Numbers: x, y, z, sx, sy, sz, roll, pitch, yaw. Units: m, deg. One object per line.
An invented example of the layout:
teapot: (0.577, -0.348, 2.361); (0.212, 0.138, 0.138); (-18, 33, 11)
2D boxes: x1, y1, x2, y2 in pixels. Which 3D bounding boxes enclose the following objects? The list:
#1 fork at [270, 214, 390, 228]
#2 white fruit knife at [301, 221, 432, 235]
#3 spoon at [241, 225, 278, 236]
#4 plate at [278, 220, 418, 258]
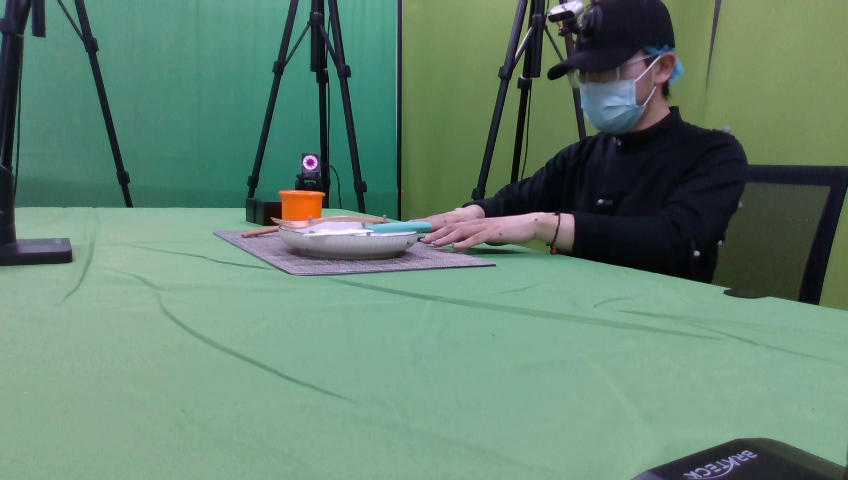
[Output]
fork: (-0.143, -0.031, 0.963); (0.208, 0.018, 0.028); (-4, 19, -35)
white fruit knife: (-0.079, -0.016, 0.858); (0.208, 0.016, 0.027); (-4, 13, -38)
spoon: (-0.232, -0.021, 1.082); (0.195, 0.021, 0.041); (-3, 27, -37)
plate: (-0.114, -0.002, 0.914); (0.209, 0.038, 0.209); (2, 7, 0)
